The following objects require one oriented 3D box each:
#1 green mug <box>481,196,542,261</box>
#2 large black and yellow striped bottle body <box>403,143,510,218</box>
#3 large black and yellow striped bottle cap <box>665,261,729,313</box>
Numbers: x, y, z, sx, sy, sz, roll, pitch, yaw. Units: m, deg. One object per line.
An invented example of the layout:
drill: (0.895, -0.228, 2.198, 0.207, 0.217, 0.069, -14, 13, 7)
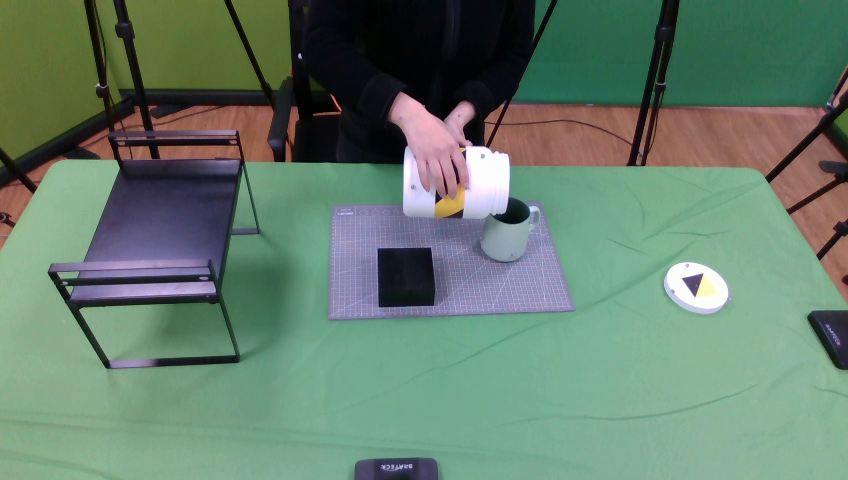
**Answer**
green mug: (0.174, -0.027, 1.173, 0.125, 0.105, 0.092, -22, 51, -23)
large black and yellow striped bottle body: (0.057, -0.105, 1.082, 0.184, 0.131, 0.130, 2, 46, 0)
large black and yellow striped bottle cap: (0.518, 0.087, 1.152, 0.115, 0.019, 0.114, 2, 47, -2)
